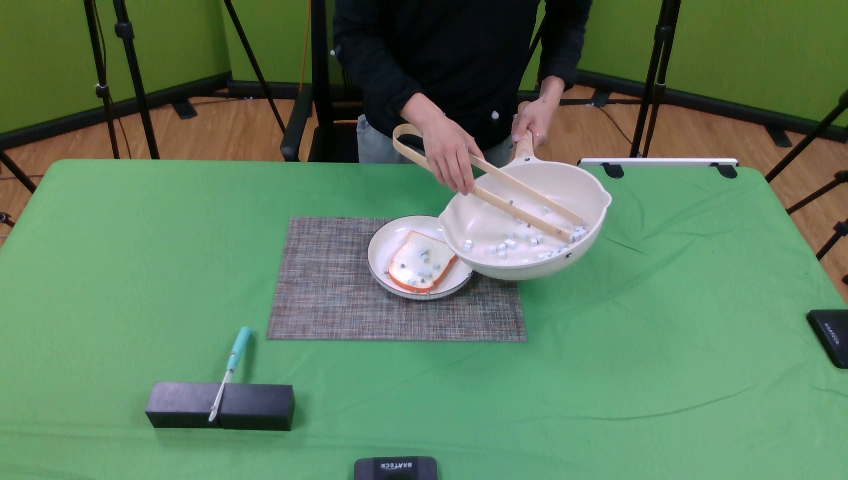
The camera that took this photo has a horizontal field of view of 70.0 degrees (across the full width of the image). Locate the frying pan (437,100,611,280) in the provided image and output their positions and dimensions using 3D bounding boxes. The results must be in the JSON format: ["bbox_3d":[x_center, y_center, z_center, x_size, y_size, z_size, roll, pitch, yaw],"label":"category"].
[{"bbox_3d":[0.190,-0.113,1.147,0.306,0.103,0.485,-5,49,17],"label":"frying pan"}]

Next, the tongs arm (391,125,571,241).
[{"bbox_3d":[0.095,-0.106,1.094,0.384,0.026,0.050,28,60,14],"label":"tongs arm"}]

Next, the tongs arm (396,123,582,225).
[{"bbox_3d":[0.112,-0.125,1.108,0.386,0.028,0.028,30,64,16],"label":"tongs arm"}]

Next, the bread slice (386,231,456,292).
[{"bbox_3d":[-0.007,0.043,1.142,0.107,0.018,0.134,18,46,14],"label":"bread slice"}]

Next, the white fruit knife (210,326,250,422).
[{"bbox_3d":[-0.301,0.201,0.942,0.016,0.027,0.206,2,32,-2],"label":"white fruit knife"}]

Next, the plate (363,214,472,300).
[{"bbox_3d":[-0.010,0.036,1.146,0.208,0.039,0.206,3,46,-2],"label":"plate"}]
